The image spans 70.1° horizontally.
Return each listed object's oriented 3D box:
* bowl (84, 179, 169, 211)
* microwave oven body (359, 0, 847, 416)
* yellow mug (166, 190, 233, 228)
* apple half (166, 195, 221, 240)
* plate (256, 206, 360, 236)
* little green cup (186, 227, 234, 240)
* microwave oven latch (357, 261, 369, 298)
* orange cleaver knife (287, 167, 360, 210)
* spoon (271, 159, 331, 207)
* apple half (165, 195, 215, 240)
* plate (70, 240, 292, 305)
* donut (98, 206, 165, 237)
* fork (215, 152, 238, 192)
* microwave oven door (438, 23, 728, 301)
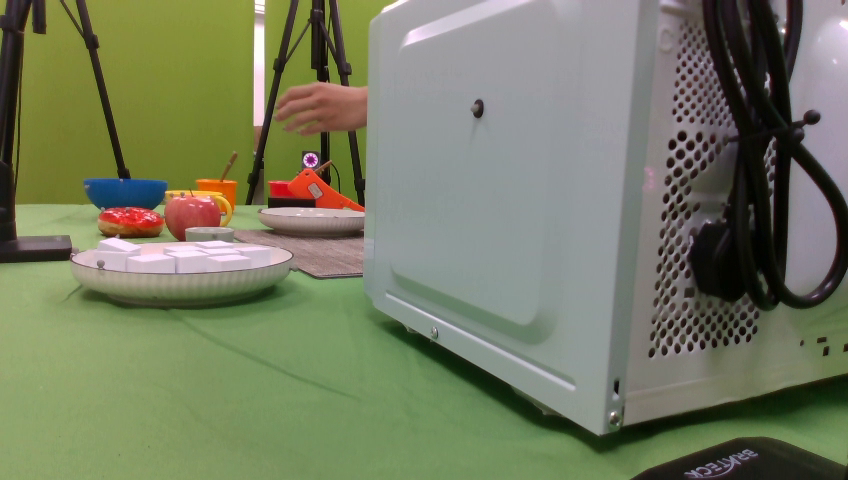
[{"bbox_3d":[-0.584,-0.078,1.194,0.151,0.077,0.151,3,8,0],"label":"bowl"},{"bbox_3d":[0.211,-0.047,0.474,0.444,0.260,0.324,-1,7,-28],"label":"microwave oven body"},{"bbox_3d":[-0.415,-0.057,1.132,0.130,0.064,0.100,6,8,16],"label":"yellow mug"},{"bbox_3d":[-0.352,-0.031,0.935,0.081,0.074,0.053,1,11,-40],"label":"apple half"},{"bbox_3d":[-0.202,-0.036,1.120,0.209,0.038,0.209,2,8,0],"label":"plate"},{"bbox_3d":[-0.285,0.005,0.805,0.061,0.038,0.061,2,8,0],"label":"little green cup"},{"bbox_3d":[-0.019,0.033,0.530,0.079,0.029,0.030,0,7,-25],"label":"microwave oven latch"},{"bbox_3d":[-0.210,-0.089,1.383,0.212,0.077,0.012,31,4,-15],"label":"orange cleaver knife"},{"bbox_3d":[-0.307,-0.141,1.513,0.193,0.021,0.041,-42,3,8],"label":"spoon"},{"bbox_3d":[-0.377,-0.038,0.964,0.082,0.081,0.032,-4,14,-39],"label":"apple half"},{"bbox_3d":[-0.242,0.031,0.618,0.208,0.039,0.207,2,8,0],"label":"plate"},{"bbox_3d":[-0.472,-0.028,0.979,0.099,0.048,0.099,5,8,0],"label":"donut"},{"bbox_3d":[-0.455,-0.132,1.366,0.028,0.018,0.207,-2,-35,-37],"label":"fork"},{"bbox_3d":[0.181,-0.072,0.621,0.358,0.243,0.039,-2,8,-29],"label":"microwave oven door"}]
